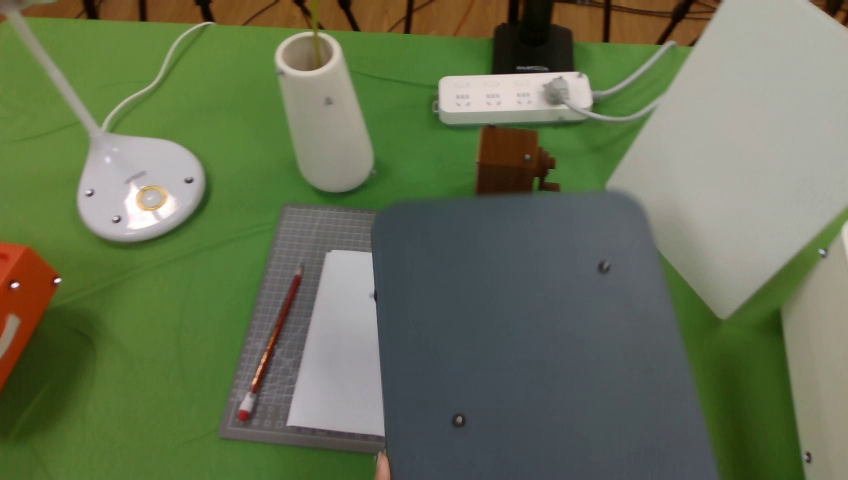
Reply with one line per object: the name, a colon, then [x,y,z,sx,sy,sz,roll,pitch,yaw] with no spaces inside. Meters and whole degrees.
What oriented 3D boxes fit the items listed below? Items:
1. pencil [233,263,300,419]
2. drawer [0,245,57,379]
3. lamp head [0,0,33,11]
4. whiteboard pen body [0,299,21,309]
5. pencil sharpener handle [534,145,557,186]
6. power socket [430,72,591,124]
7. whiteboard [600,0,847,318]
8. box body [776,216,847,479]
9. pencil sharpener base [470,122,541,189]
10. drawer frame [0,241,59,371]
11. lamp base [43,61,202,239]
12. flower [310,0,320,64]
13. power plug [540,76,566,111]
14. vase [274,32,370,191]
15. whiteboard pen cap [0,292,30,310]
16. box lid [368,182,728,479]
pencil: [-0.172,0.107,0.680,0.012,0.012,0.192,11,58,9]
drawer: [-0.525,0.088,0.610,0.211,0.074,0.193,8,60,6]
lamp head: [-0.343,-0.261,0.473,0.123,0.112,0.112,45,63,-17]
whiteboard pen body: [-0.502,0.071,0.645,0.141,0.017,0.017,-3,58,-2]
pencil sharpener handle: [0.147,-0.084,0.720,0.030,0.068,0.035,6,58,6]
power socket: [0.121,-0.200,0.849,0.227,0.033,0.071,-1,59,1]
whiteboard: [0.371,-0.100,0.657,0.144,0.307,0.215,-14,56,-29]
box body: [0.483,0.178,0.530,0.254,0.162,0.361,7,59,6]
pencil sharpener base: [0.097,-0.083,0.735,0.076,0.108,0.061,6,58,6]
drawer frame: [-0.531,0.090,0.612,0.213,0.083,0.200,8,59,5]
lamp base: [-0.382,-0.116,0.726,0.178,0.182,0.160,34,65,23]
flower: [-0.117,-0.206,0.666,0.038,0.365,0.043,-6,40,-10]
power plug: [0.172,-0.189,0.814,0.035,0.053,0.072,8,60,7]
vase: [-0.123,-0.148,0.727,0.098,0.202,0.097,-2,58,3]
whiteboard pen cap: [-0.441,0.066,0.647,0.033,0.018,0.018,-7,58,7]
box lid: [0.097,0.117,0.491,0.264,0.015,0.368,-4,67,-8]
